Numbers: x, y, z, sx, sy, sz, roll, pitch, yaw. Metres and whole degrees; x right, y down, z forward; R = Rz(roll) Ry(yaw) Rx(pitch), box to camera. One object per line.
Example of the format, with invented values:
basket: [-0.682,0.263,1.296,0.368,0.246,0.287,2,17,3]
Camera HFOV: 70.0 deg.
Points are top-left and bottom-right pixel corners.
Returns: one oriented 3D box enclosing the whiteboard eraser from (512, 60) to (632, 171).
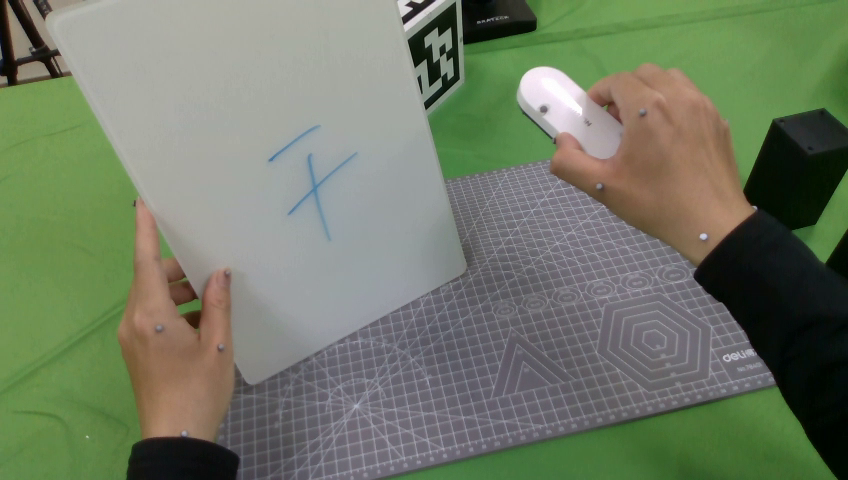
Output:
whiteboard eraser: [0.105,-0.091,0.435,0.041,0.019,0.101,-39,77,-21]

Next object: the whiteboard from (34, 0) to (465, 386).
whiteboard: [-0.122,-0.078,0.504,0.217,0.308,0.142,-27,33,-16]
